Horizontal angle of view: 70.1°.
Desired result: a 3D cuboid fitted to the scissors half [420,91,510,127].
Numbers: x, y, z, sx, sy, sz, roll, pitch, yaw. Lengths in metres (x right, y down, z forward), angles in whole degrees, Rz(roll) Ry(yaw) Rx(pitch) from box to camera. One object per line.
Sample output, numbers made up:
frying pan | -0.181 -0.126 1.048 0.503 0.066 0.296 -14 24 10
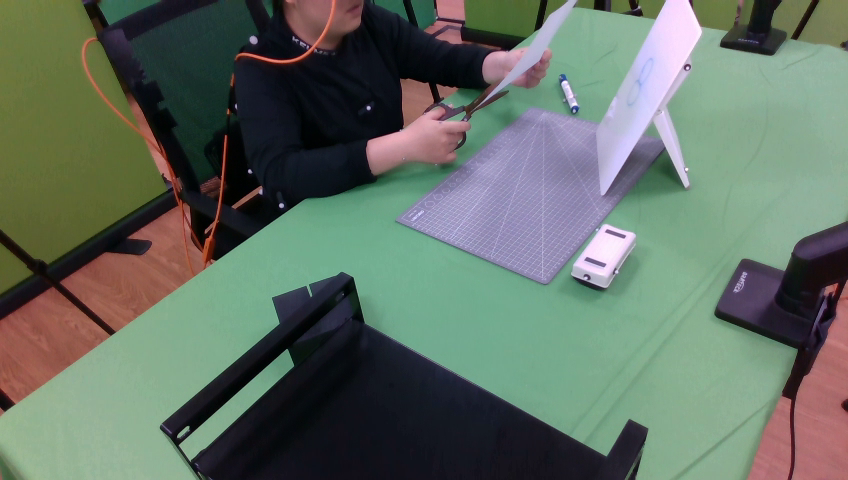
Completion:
scissors half | 0.073 -0.244 1.104 0.174 0.040 0.013 -11 20 18

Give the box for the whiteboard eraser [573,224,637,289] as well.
whiteboard eraser | 0.267 0.025 0.891 0.055 0.042 0.113 19 47 31

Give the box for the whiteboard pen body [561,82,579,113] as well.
whiteboard pen body | 0.311 -0.312 1.297 0.017 0.017 0.140 -6 41 3

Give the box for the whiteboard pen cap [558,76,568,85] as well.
whiteboard pen cap | 0.310 -0.350 1.341 0.018 0.018 0.033 -6 40 2

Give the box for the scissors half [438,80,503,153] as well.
scissors half | 0.087 -0.225 1.110 0.040 0.175 0.013 36 28 -8

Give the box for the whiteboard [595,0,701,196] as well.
whiteboard | 0.421 -0.227 1.010 0.144 0.305 0.216 18 42 -2
